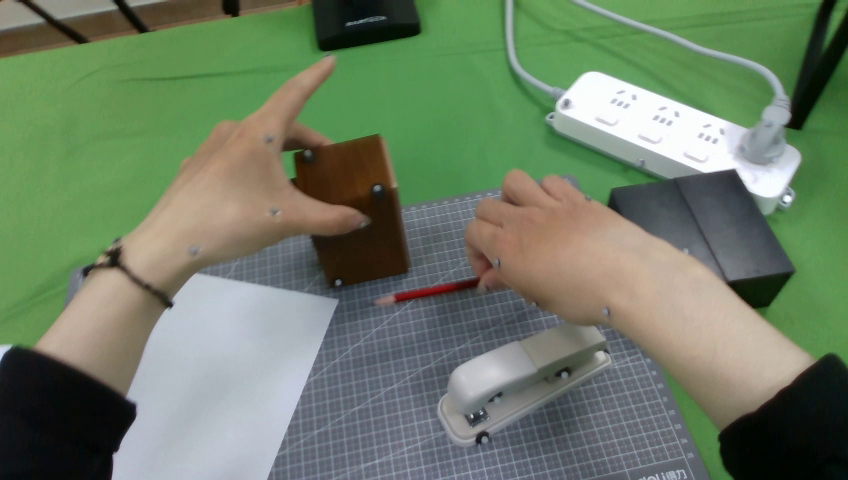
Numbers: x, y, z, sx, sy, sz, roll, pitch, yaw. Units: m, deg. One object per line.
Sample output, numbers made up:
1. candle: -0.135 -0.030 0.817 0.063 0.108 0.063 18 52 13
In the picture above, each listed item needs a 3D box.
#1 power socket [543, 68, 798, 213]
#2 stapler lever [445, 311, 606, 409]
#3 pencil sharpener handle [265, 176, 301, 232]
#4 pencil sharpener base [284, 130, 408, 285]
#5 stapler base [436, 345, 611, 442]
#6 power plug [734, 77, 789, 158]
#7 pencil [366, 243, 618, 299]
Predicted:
1. power socket: 0.219 -0.095 0.549 0.225 0.033 0.072 30 61 24
2. stapler lever: 0.069 0.078 0.408 0.118 0.040 0.026 -24 56 -14
3. pencil sharpener handle: -0.111 -0.022 0.459 0.031 0.068 0.036 -14 75 -4
4. pencil sharpener base: -0.059 -0.021 0.470 0.077 0.108 0.060 -14 54 -4
5. stapler base: 0.070 0.095 0.428 0.131 0.024 0.041 -24 57 -14
6. power plug: 0.293 -0.095 0.513 0.072 0.053 0.035 -39 60 -20
7. pencil: 0.053 0.024 0.445 0.194 0.012 0.012 -10 54 -10
